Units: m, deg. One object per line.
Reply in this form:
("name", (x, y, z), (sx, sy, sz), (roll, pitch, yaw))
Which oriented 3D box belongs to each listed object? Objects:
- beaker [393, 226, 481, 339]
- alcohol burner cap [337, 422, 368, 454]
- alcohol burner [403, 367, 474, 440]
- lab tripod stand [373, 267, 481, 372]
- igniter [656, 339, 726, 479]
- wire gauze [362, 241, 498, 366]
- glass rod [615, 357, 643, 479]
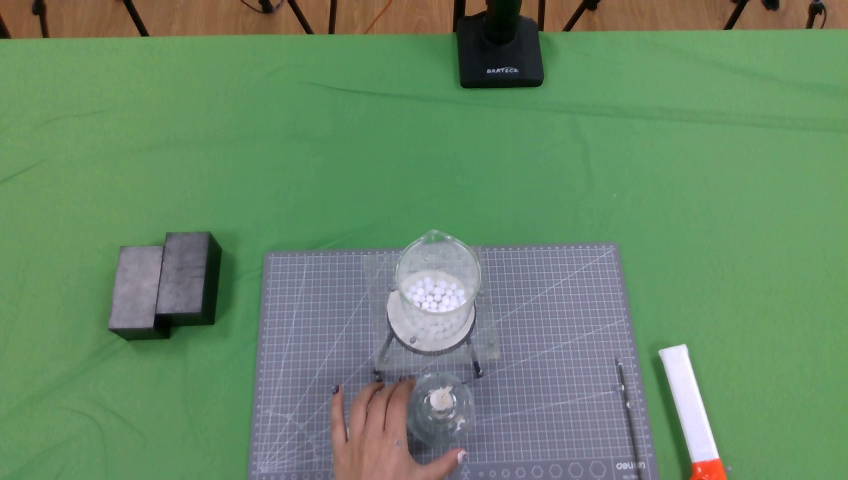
("beaker", (0.010, 0.044, 0.558), (0.074, 0.101, 0.083), (-5, 66, -4))
("alcohol burner cap", (-0.079, 0.213, 0.658), (0.034, 0.048, 0.033), (1, 67, -2))
("alcohol burner", (0.016, 0.170, 0.641), (0.078, 0.120, 0.077), (0, 65, 0))
("lab tripod stand", (0.003, 0.089, 0.662), (0.148, 0.132, 0.147), (0, 66, 0))
("igniter", (0.307, 0.246, 0.664), (0.057, 0.025, 0.274), (-18, 65, 23))
("wire gauze", (0.004, 0.061, 0.603), (0.125, 0.011, 0.120), (-6, 66, -3))
("glass rod", (0.235, 0.230, 0.681), (0.008, 0.008, 0.198), (-2, 67, -3))
